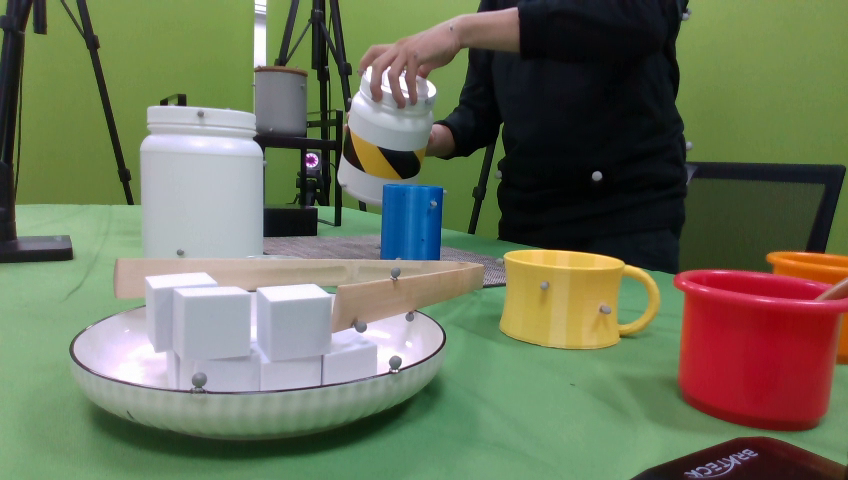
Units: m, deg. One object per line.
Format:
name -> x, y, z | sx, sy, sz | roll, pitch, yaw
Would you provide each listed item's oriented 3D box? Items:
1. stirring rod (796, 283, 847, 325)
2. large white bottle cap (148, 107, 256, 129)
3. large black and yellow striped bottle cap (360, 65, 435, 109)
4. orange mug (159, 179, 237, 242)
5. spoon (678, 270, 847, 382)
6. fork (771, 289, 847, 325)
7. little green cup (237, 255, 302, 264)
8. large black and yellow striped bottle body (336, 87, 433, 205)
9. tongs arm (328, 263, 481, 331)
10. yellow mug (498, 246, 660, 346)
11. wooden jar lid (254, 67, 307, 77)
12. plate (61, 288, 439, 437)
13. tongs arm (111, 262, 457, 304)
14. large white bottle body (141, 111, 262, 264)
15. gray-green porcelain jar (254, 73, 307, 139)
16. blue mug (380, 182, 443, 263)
stirring rod -> 0.347, 0.019, 0.460 | 0.014, 0.176, 0.006 | -16, 59, -26
large white bottle cap -> -0.250, -0.137, 0.686 | 0.115, 0.018, 0.115 | 2, 8, 0
large black and yellow striped bottle cap -> -0.040, -0.232, 0.914 | 0.115, 0.019, 0.115 | 13, 35, -9
orange mug -> -0.368, -0.052, 0.991 | 0.127, 0.101, 0.083 | -10, 14, -41
spoon -> 0.229, 0.031, 0.338 | 0.193, 0.021, 0.042 | -44, -16, 27
fork -> 0.335, 0.018, 0.443 | 0.028, 0.018, 0.207 | -1, -36, -20
little green cup -> -0.150, 0.038, 0.590 | 0.061, 0.038, 0.061 | 3, 6, 0
large black and yellow striped bottle body -> -0.061, -0.163, 0.961 | 0.131, 0.184, 0.130 | 12, 34, -8
tongs arm -> -0.003, 0.036, 0.493 | 0.050, 0.026, 0.386 | 1, -1, 19
yellow mug -> 0.130, 0.045, 0.508 | 0.131, 0.064, 0.100 | 4, 7, 6
wooden jar lid -> -0.296, -0.339, 1.251 | 0.108, 0.020, 0.108 | 2, 7, 0
plate -> -0.095, 0.069, 0.362 | 0.208, 0.039, 0.207 | 3, 7, 0
tongs arm -> -0.080, 0.033, 0.527 | 0.028, 0.027, 0.389 | -3, -4, 33
large white bottle body -> -0.254, -0.053, 0.697 | 0.131, 0.184, 0.130 | 2, 7, 0
gray-green porcelain jar -> -0.298, -0.277, 1.259 | 0.106, 0.126, 0.106 | 3, 7, 0
blue mug -> -0.020, -0.026, 0.833 | 0.082, 0.106, 0.116 | 1, 7, -7
